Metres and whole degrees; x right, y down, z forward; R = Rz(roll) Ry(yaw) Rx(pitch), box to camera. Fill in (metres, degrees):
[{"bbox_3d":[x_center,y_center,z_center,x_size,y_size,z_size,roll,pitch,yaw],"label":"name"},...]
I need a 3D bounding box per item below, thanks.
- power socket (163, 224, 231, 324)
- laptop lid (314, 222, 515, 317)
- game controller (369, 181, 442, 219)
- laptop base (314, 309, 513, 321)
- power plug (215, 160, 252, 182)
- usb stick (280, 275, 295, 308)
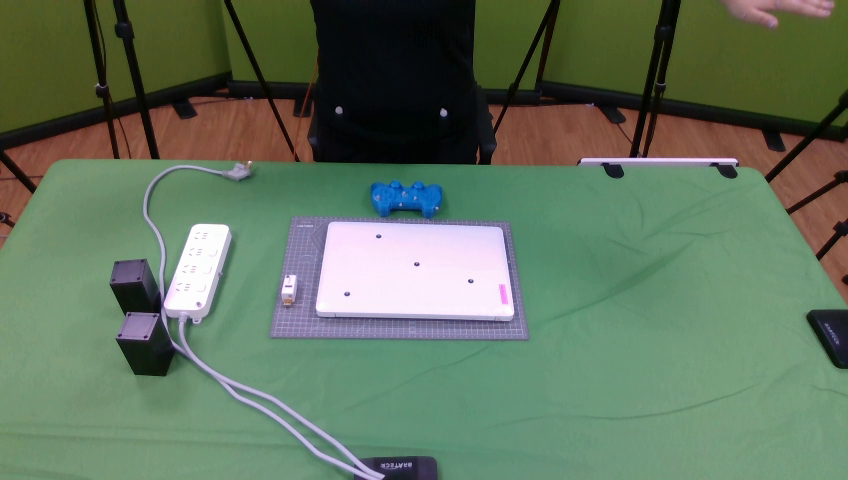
[{"bbox_3d":[-0.411,0.052,1.106,0.072,0.033,0.225,3,46,-3],"label":"power socket"},{"bbox_3d":[-0.016,0.049,1.134,0.357,0.013,0.240,3,43,-2],"label":"laptop lid"},{"bbox_3d":[-0.039,-0.092,1.268,0.155,0.052,0.096,2,51,-2],"label":"game controller"},{"bbox_3d":[-0.017,0.059,1.141,0.354,0.023,0.234,2,42,-3],"label":"laptop base"},{"bbox_3d":[-0.408,-0.155,1.304,0.072,0.035,0.052,23,65,2],"label":"power plug"},{"bbox_3d":[-0.244,0.093,1.081,0.021,0.027,0.059,3,47,-4],"label":"usb stick"}]
